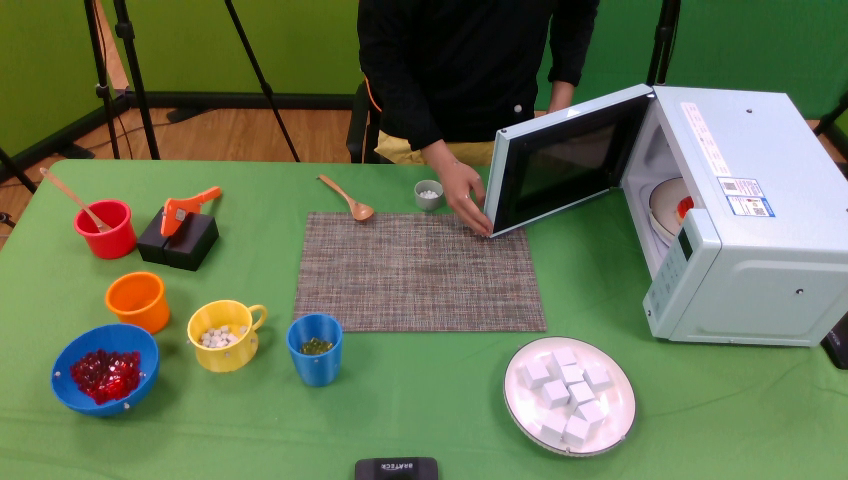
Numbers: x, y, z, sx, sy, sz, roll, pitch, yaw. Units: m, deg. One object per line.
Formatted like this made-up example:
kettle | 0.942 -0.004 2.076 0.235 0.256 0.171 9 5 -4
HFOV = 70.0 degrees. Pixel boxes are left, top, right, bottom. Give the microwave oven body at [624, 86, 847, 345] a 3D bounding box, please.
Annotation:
microwave oven body | 0.568 -0.053 1.118 0.326 0.261 0.439 2 45 -1

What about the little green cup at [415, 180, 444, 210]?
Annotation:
little green cup | 0.011 -0.094 1.278 0.061 0.039 0.061 2 49 -2

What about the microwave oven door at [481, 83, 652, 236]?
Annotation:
microwave oven door | 0.280 -0.159 1.194 0.356 0.245 0.039 -21 51 -22

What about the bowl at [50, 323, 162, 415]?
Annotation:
bowl | -0.472 0.209 0.924 0.151 0.077 0.150 3 45 -2

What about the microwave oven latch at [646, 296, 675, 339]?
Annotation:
microwave oven latch | 0.412 0.134 1.061 0.030 0.029 0.078 4 45 1

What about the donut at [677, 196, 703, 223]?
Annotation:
donut | 0.539 -0.048 1.169 0.099 0.048 0.098 3 43 -3

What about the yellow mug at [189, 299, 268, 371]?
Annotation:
yellow mug | -0.316 0.148 1.002 0.131 0.064 0.099 -32 56 -31

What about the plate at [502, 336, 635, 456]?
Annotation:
plate | 0.225 0.248 0.963 0.208 0.039 0.206 2 46 -2

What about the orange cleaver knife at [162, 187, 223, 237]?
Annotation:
orange cleaver knife | -0.448 -0.058 1.181 0.012 0.077 0.211 13 17 6

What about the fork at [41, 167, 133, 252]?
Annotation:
fork | -0.624 -0.056 1.121 0.208 0.018 0.028 49 51 -15

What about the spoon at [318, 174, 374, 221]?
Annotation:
spoon | -0.168 -0.094 1.274 0.041 0.022 0.192 -38 56 -15

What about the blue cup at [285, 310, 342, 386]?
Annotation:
blue cup | -0.170 0.179 0.958 0.093 0.101 0.092 2 44 -1

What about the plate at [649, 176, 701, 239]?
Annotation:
plate | 0.543 -0.045 1.180 0.209 0.038 0.208 1 46 -1
